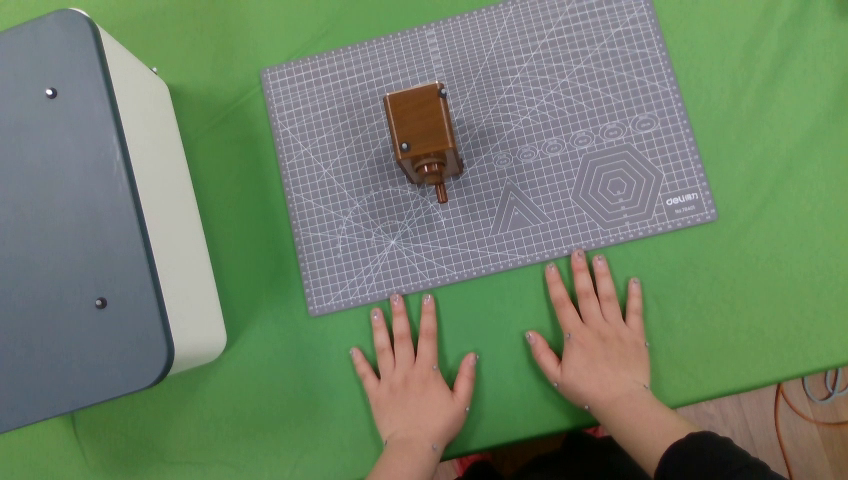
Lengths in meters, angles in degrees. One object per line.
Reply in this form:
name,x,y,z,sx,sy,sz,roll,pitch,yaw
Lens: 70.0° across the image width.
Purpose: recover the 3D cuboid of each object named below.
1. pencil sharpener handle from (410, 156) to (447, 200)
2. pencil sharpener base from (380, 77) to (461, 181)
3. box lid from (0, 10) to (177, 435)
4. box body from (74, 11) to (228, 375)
pencil sharpener handle,0.011,-0.060,0.607,0.036,0.068,0.030,-14,81,11
pencil sharpener base,0.000,-0.108,0.626,0.061,0.107,0.076,-13,82,5
box lid,-0.388,-0.015,0.559,0.263,0.015,0.370,-18,83,3
box body,-0.382,-0.009,0.637,0.254,0.161,0.362,-18,81,4
